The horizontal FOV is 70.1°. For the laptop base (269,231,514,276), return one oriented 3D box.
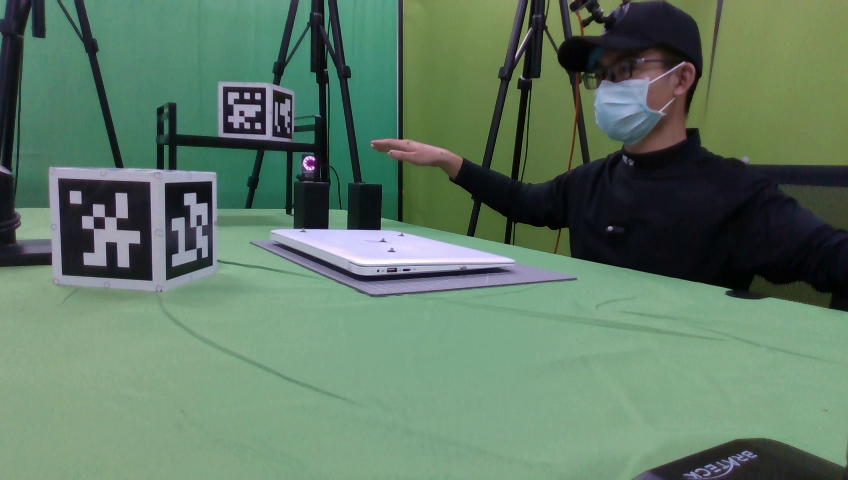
[{"bbox_3d":[-0.066,0.017,0.893,0.237,0.023,0.352,1,6,-32],"label":"laptop base"}]

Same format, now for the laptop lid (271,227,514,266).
[{"bbox_3d":[-0.063,0.005,0.893,0.243,0.013,0.355,1,7,-30],"label":"laptop lid"}]
